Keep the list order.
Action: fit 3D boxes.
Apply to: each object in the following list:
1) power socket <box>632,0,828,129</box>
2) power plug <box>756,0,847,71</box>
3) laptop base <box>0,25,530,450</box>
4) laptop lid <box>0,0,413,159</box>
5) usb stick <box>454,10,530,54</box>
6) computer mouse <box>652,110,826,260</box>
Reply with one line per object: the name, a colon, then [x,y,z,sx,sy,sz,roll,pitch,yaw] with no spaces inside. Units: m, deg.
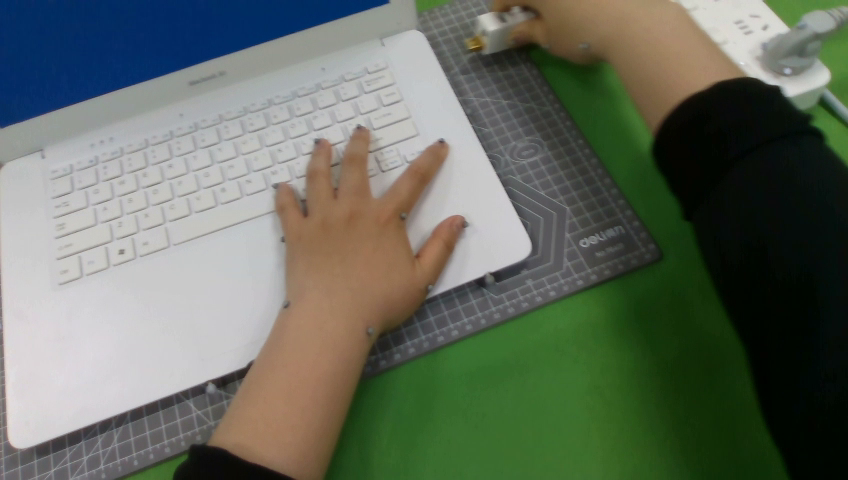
power socket: [0.229,-0.182,0.490,0.072,0.033,0.224,-20,61,-5]
power plug: [0.280,-0.142,0.440,0.072,0.053,0.035,-10,63,-2]
laptop base: [-0.130,-0.023,0.444,0.354,0.023,0.233,-21,66,-6]
laptop lid: [-0.191,-0.193,0.410,0.357,0.244,0.013,-22,49,-5]
usb stick: [0.054,-0.168,0.492,0.059,0.027,0.021,-13,59,-13]
computer mouse: [0.214,-0.044,0.416,0.063,0.041,0.116,-27,60,-4]
